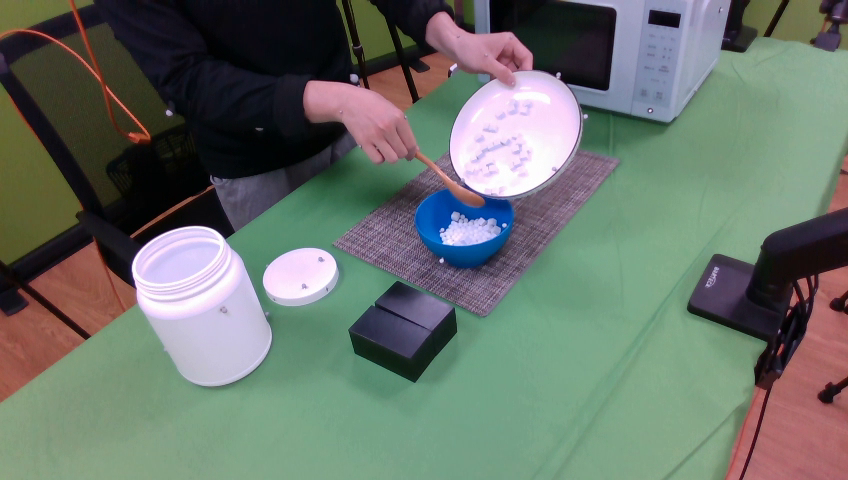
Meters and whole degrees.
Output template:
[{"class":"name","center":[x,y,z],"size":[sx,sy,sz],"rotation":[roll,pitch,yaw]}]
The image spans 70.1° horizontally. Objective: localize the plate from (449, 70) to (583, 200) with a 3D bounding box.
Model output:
[{"class":"plate","center":[0.138,-0.155,0.913],"size":[0.208,0.038,0.208],"rotation":[-9,70,25]}]

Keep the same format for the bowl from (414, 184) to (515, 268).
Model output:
[{"class":"bowl","center":[0.063,-0.011,0.922],"size":[0.151,0.077,0.150],"rotation":[-4,40,4]}]

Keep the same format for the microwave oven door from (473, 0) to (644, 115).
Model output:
[{"class":"microwave oven door","center":[0.257,-0.396,1.199],"size":[0.353,0.245,0.039],"rotation":[21,48,29]}]

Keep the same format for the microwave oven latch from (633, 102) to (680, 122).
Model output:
[{"class":"microwave oven latch","center":[0.443,-0.249,1.157],"size":[0.078,0.029,0.030],"rotation":[21,49,30]}]

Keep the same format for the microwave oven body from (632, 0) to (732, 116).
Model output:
[{"class":"microwave oven body","center":[0.377,-0.463,1.267],"size":[0.438,0.261,0.327],"rotation":[21,48,30]}]

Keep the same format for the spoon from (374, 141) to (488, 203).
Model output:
[{"class":"spoon","center":[0.008,-0.101,0.885],"size":[0.193,0.042,0.021],"rotation":[33,88,15]}]

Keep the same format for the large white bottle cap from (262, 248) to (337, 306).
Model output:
[{"class":"large white bottle cap","center":[-0.193,0.056,0.934],"size":[0.115,0.018,0.114],"rotation":[-4,41,4]}]

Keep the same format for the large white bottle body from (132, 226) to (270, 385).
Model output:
[{"class":"large white bottle body","center":[-0.286,0.085,0.784],"size":[0.130,0.185,0.130],"rotation":[-4,41,4]}]
